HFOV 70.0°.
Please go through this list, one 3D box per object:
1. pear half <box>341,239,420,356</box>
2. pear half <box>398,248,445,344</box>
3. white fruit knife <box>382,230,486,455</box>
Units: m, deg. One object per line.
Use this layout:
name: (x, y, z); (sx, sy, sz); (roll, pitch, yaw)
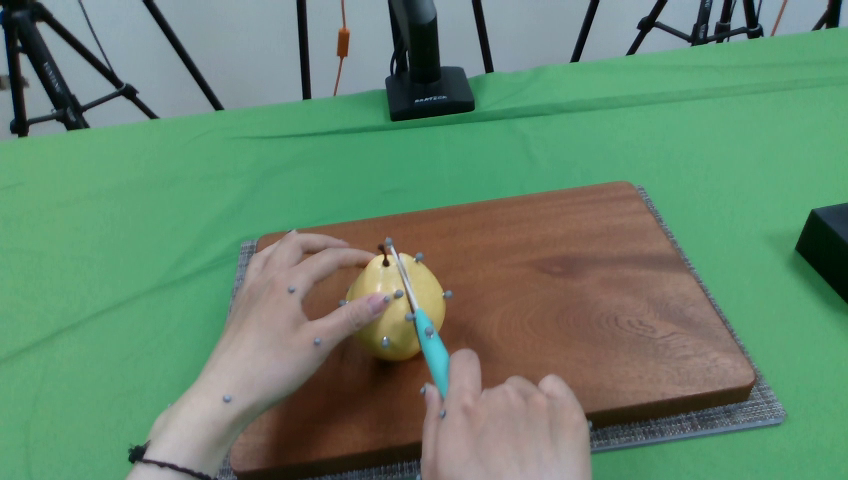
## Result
pear half: (-0.039, 0.043, 0.474); (0.056, 0.111, 0.075); (-18, 39, -9)
pear half: (-0.001, 0.041, 0.488); (0.031, 0.089, 0.069); (-15, 36, -14)
white fruit knife: (-0.001, 0.058, 0.435); (0.016, 0.028, 0.205); (-19, 45, -9)
